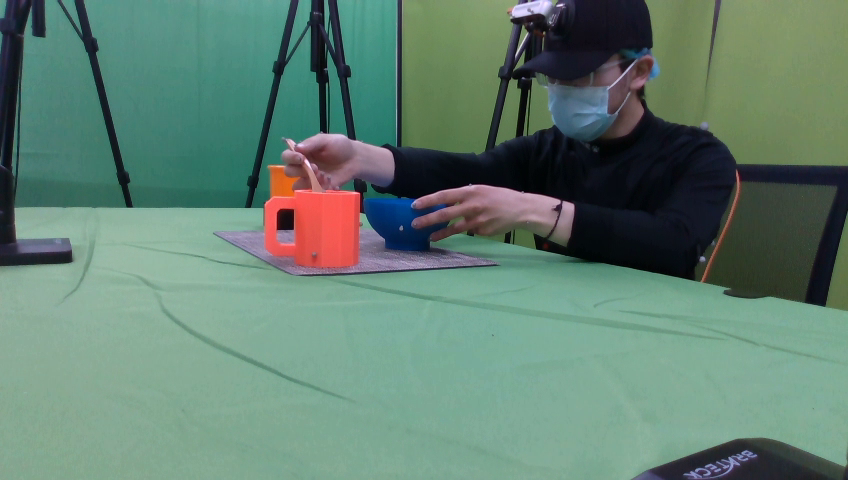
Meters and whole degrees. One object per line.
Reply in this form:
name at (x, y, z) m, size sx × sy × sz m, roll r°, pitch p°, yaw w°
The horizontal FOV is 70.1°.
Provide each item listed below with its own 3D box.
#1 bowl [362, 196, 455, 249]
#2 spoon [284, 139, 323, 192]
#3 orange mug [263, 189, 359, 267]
bowl at (-0.027, -0.028, 0.985) m, size 0.151 × 0.077 × 0.151 m, roll 2°, pitch 7°, yaw 0°
spoon at (-0.158, -0.089, 0.834) m, size 0.042 × 0.021 × 0.193 m, roll 2°, pitch 41°, yaw -35°
orange mug at (-0.147, -0.019, 0.794) m, size 0.127 × 0.100 × 0.083 m, roll 5°, pitch 6°, yaw -19°
